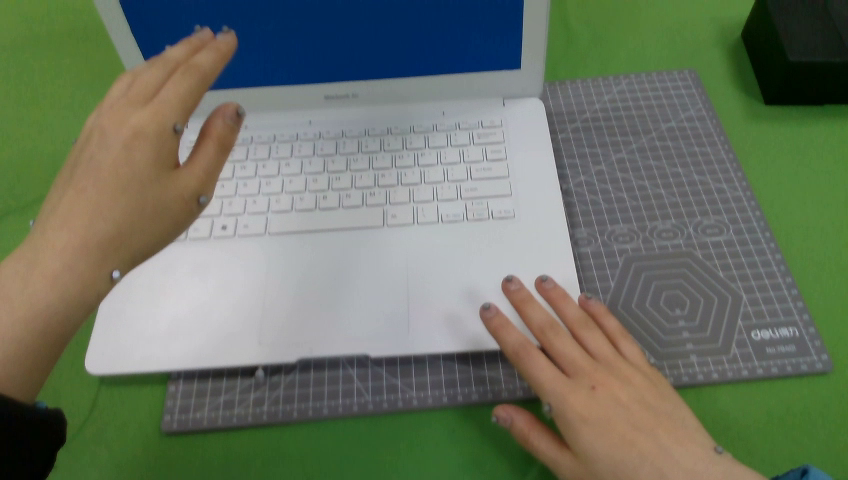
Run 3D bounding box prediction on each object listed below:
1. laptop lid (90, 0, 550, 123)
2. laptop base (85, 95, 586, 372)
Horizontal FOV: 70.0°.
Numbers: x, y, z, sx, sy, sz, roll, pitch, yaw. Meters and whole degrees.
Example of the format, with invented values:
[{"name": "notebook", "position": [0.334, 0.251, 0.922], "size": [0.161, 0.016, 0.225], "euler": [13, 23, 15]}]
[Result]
[{"name": "laptop lid", "position": [-0.080, -0.195, 0.460], "size": [0.357, 0.244, 0.013], "euler": [-5, 47, 3]}, {"name": "laptop base", "position": [-0.067, -0.015, 0.483], "size": [0.354, 0.023, 0.233], "euler": [-4, 59, 2]}]
